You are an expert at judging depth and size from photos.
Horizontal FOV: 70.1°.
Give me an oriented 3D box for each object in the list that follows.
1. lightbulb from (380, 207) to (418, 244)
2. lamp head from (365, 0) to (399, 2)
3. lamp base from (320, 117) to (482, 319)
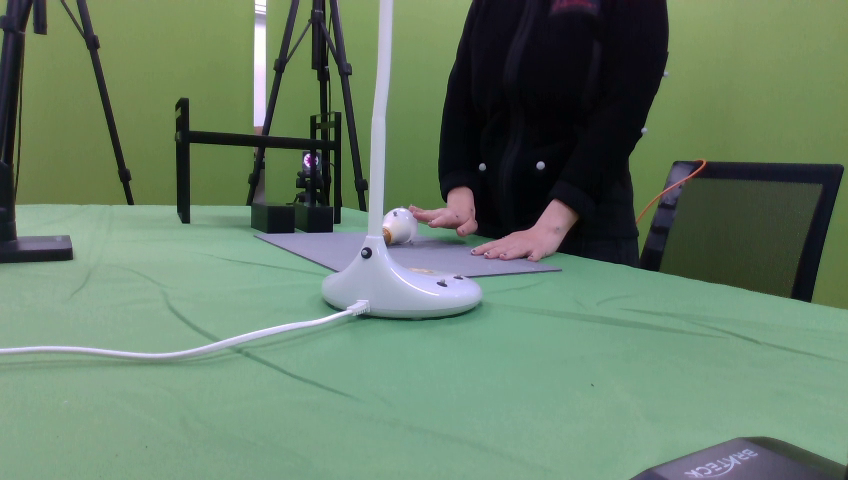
[{"bbox_3d":[-0.053,-0.018,0.995,0.059,0.059,0.108,7,24,30],"label":"lightbulb"},{"bbox_3d":[-0.042,-0.311,0.590,0.112,0.112,0.123,2,-34,0],"label":"lamp head"},{"bbox_3d":[-0.023,-0.025,0.579,0.160,0.180,0.179,4,10,16],"label":"lamp base"}]
